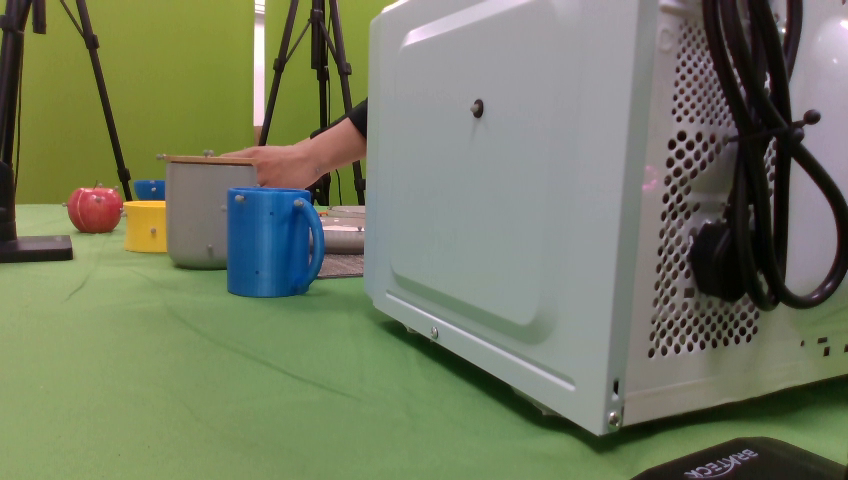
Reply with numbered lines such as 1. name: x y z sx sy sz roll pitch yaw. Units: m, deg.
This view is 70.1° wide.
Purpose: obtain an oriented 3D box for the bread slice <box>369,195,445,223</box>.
1. bread slice: -0.040 -0.057 1.142 0.107 0.018 0.133 -9 -8 -39

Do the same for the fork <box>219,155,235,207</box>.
1. fork: -0.459 -0.134 1.415 0.028 0.018 0.207 -1 -34 -24

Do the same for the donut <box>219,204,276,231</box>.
1. donut: -0.316 -0.039 1.083 0.099 0.048 0.099 2 7 0

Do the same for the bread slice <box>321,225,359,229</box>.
1. bread slice: -0.124 -0.009 0.939 0.131 0.019 0.105 6 9 32

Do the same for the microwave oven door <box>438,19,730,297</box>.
1. microwave oven door: 0.181 -0.076 0.618 0.358 0.243 0.039 -2 8 -28

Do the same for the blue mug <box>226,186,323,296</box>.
1. blue mug: -0.148 0.000 0.618 0.116 0.106 0.083 7 9 33

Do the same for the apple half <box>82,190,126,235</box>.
1. apple half: -0.516 -0.046 0.994 0.032 0.081 0.081 0 6 26

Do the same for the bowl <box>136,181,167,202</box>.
1. bowl: -0.497 -0.076 1.221 0.151 0.077 0.151 2 8 0

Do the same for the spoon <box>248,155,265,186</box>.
1. spoon: -0.417 -0.150 1.542 0.042 0.193 0.021 -10 -32 -28

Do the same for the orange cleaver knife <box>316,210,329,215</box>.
1. orange cleaver knife: -0.259 -0.064 1.423 0.212 0.012 0.077 -4 3 -30

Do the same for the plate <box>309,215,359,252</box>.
1. plate: -0.130 -0.011 0.945 0.208 0.039 0.207 2 7 0

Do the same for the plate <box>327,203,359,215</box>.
1. plate: -0.102 -0.053 1.299 0.209 0.038 0.209 2 8 0

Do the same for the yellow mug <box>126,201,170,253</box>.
1. yellow mug: -0.361 -0.019 0.866 0.130 0.064 0.100 6 9 27

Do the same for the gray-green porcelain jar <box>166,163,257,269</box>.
1. gray-green porcelain jar: -0.263 -0.031 0.754 0.106 0.126 0.106 2 7 0

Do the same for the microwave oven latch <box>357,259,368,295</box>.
1. microwave oven latch: -0.019 0.031 0.529 0.079 0.029 0.030 -1 7 -26

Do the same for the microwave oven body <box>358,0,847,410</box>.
1. microwave oven body: 0.210 -0.051 0.471 0.444 0.260 0.324 -1 7 -28

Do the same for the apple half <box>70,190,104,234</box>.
1. apple half: -0.552 -0.047 1.009 0.053 0.074 0.081 0 9 26

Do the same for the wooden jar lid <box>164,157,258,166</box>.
1. wooden jar lid: -0.261 -0.093 0.746 0.108 0.020 0.108 0 9 0
